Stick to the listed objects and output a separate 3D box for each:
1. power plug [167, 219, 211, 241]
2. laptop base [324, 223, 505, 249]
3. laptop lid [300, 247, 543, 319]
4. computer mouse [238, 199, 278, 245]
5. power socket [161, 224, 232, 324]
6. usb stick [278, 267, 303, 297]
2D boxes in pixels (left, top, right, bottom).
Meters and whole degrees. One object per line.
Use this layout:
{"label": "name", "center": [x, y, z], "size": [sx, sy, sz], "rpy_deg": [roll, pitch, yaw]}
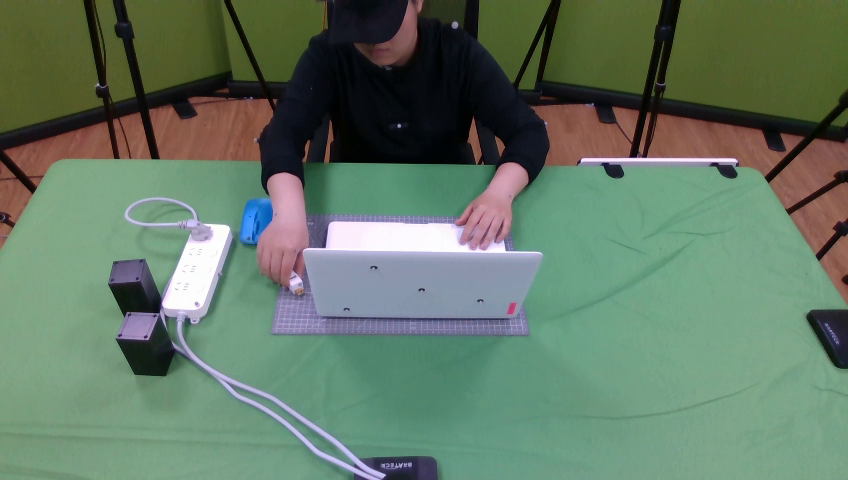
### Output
{"label": "power plug", "center": [-0.438, -0.017, 1.143], "size": [0.072, 0.053, 0.035], "rpy_deg": [10, 43, 7]}
{"label": "laptop base", "center": [-0.016, 0.054, 1.146], "size": [0.354, 0.023, 0.234], "rpy_deg": [1, 42, -3]}
{"label": "laptop lid", "center": [-0.006, 0.075, 0.963], "size": [0.357, 0.242, 0.013], "rpy_deg": [2, 58, -4]}
{"label": "computer mouse", "center": [-0.328, -0.039, 1.201], "size": [0.063, 0.041, 0.116], "rpy_deg": [4, 48, -3]}
{"label": "power socket", "center": [-0.412, 0.052, 1.107], "size": [0.072, 0.033, 0.225], "rpy_deg": [4, 46, -2]}
{"label": "usb stick", "center": [-0.239, 0.078, 1.096], "size": [0.021, 0.027, 0.059], "rpy_deg": [-32, 58, -21]}
